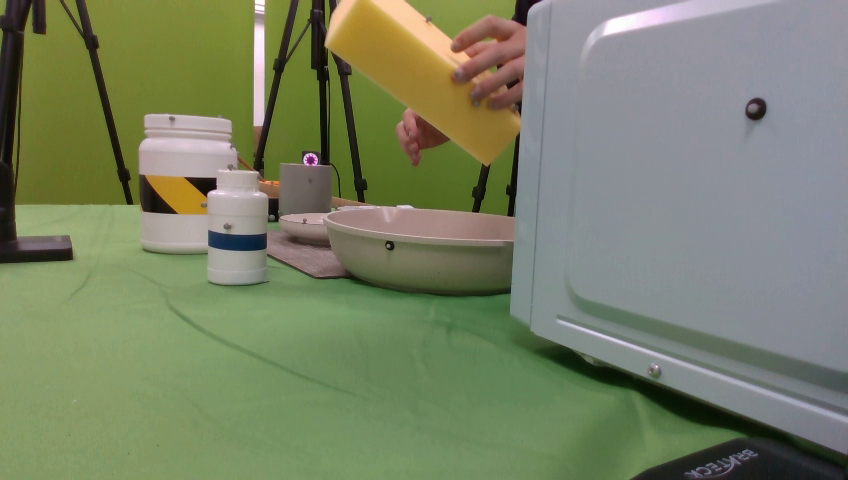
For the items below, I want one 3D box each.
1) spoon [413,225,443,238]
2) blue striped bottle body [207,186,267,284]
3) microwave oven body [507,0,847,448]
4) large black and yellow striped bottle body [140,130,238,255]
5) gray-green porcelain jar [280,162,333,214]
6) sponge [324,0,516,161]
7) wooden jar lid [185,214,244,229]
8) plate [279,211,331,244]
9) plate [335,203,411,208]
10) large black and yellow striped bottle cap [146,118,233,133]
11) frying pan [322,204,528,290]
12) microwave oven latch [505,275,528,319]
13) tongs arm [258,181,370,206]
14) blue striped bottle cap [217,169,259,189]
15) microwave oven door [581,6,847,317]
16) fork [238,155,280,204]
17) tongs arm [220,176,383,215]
[{"bbox_3d":[0.017,-0.019,1.113,0.041,0.021,0.194,-11,3,12],"label":"spoon"},{"bbox_3d":[-0.204,-0.016,0.663,0.063,0.120,0.063,2,7,0],"label":"blue striped bottle body"},{"bbox_3d":[0.331,-0.042,0.425,0.444,0.260,0.324,-2,8,-31],"label":"microwave oven body"},{"bbox_3d":[-0.336,-0.078,0.871,0.131,0.184,0.130,2,8,0],"label":"large black and yellow striped bottle body"},{"bbox_3d":[-0.238,-0.092,1.221,0.106,0.126,0.106,2,7,0],"label":"gray-green porcelain jar"},{"bbox_3d":[0.001,-0.182,0.632,0.208,0.061,0.118,30,27,-25],"label":"sponge"},{"bbox_3d":[-0.404,-0.037,1.169,0.108,0.020,0.108,3,7,0],"label":"wooden jar lid"},{"bbox_3d":[-0.139,-0.022,1.021,0.209,0.038,0.209,2,8,0],"label":"plate"},{"bbox_3d":[-0.089,-0.053,1.309,0.208,0.039,0.207,2,8,0],"label":"plate"},{"bbox_3d":[-0.333,-0.163,0.861,0.115,0.019,0.115,1,9,0],"label":"large black and yellow striped bottle cap"},{"bbox_3d":[0.110,-0.018,0.800,0.490,0.102,0.305,-12,16,-30],"label":"frying pan"},{"bbox_3d":[0.100,0.042,0.471,0.079,0.029,0.030,-2,8,-29],"label":"microwave oven latch"},{"bbox_3d":[-0.241,-0.095,1.373,0.387,0.026,0.050,9,-1,-37],"label":"tongs arm"},{"bbox_3d":[-0.202,-0.067,0.656,0.044,0.020,0.044,1,10,0],"label":"blue striped bottle cap"},{"bbox_3d":[0.295,-0.067,0.569,0.358,0.243,0.039,-3,8,-31],"label":"microwave oven door"},{"bbox_3d":[-0.396,-0.143,1.487,0.028,0.018,0.208,20,-26,45],"label":"fork"},{"bbox_3d":[-0.285,-0.103,1.445,0.389,0.027,0.028,9,-4,-23],"label":"tongs arm"}]
